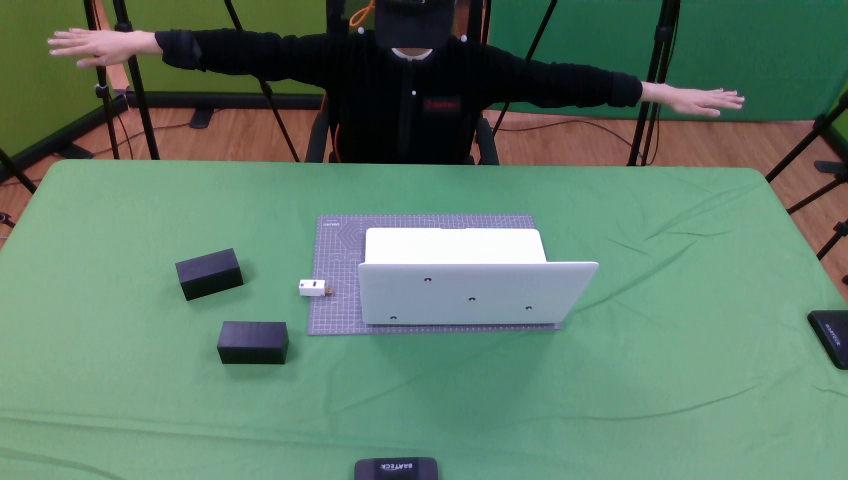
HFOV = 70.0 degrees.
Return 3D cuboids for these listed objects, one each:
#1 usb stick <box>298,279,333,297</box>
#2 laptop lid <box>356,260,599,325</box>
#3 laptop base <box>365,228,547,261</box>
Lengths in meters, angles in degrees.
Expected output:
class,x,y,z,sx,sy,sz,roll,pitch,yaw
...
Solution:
class,x,y,z,sx,sy,sz,roll,pitch,yaw
usb stick,-0.195,0.087,1.092,0.059,0.027,0.021,5,46,-3
laptop lid,0.074,0.089,0.958,0.357,0.242,0.013,1,60,-5
laptop base,0.064,0.063,1.142,0.355,0.023,0.234,0,42,-4
